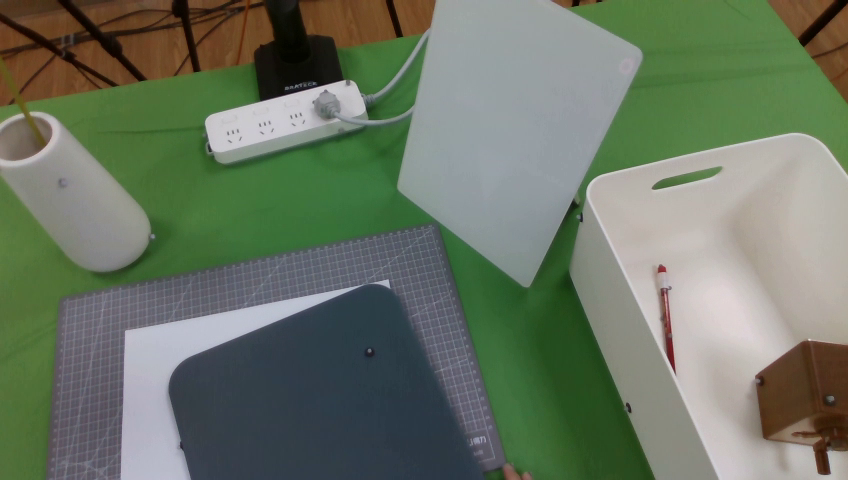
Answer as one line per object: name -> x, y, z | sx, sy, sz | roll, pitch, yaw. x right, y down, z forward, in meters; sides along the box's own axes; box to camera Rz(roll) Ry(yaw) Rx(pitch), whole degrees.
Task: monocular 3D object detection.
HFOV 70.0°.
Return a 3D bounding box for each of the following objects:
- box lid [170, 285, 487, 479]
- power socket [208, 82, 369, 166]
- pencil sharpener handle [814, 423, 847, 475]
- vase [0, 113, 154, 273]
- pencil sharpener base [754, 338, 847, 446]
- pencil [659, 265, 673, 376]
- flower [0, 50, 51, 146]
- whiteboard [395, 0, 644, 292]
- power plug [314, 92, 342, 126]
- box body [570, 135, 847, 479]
box lid -> -0.085, 0.232, 0.597 | 0.263, 0.015, 0.368 | -22, 62, -12
power socket -> -0.182, -0.158, 0.820 | 0.227, 0.033, 0.071 | -17, 61, -9
pencil sharpener handle -> 0.366, 0.187, 0.539 | 0.036, 0.068, 0.030 | 1, 58, 14
vase -> -0.378, -0.045, 0.659 | 0.098, 0.202, 0.097 | -1, 59, 2
pencil sharpener base -> 0.371, 0.150, 0.576 | 0.061, 0.108, 0.076 | 7, 59, 5
pencil -> 0.265, 0.115, 0.658 | 0.012, 0.012, 0.192 | 6, 63, 5
flower -> -0.377, -0.104, 0.599 | 0.038, 0.365, 0.043 | -22, 43, -19
whiteboard -> 0.117, -0.135, 0.678 | 0.215, 0.307, 0.144 | 39, 48, 22
power plug -> -0.125, -0.162, 0.795 | 0.035, 0.053, 0.072 | -8, 61, -4
box body -> 0.319, 0.103, 0.580 | 0.254, 0.162, 0.360 | -13, 60, -7
